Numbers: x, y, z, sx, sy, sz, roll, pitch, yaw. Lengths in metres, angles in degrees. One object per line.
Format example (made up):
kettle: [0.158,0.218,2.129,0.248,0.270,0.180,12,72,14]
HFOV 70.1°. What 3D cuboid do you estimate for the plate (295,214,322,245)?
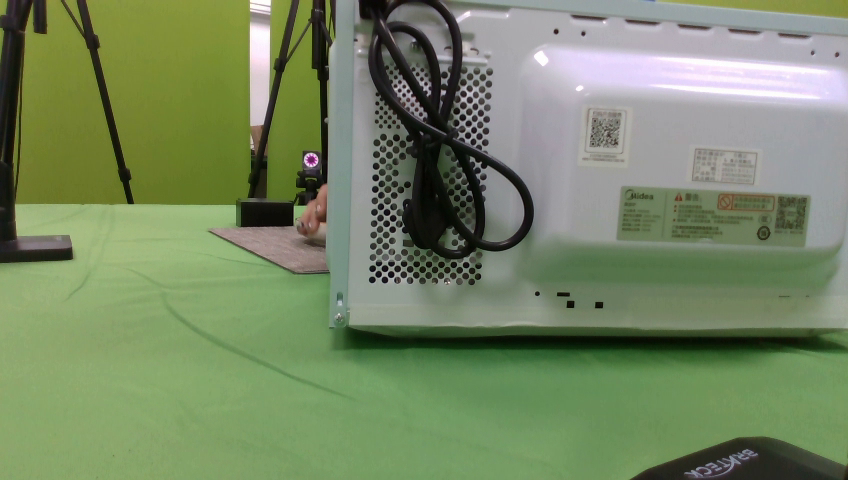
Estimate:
plate: [-0.107,-0.016,0.996,0.209,0.038,0.209,2,7,0]

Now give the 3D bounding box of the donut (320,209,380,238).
donut: [-0.121,-0.027,0.995,0.099,0.048,0.099,2,5,0]

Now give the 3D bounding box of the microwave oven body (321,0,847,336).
microwave oven body: [0.133,-0.062,0.567,0.443,0.260,0.325,2,6,-8]

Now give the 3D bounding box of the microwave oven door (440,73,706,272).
microwave oven door: [0.184,-0.098,0.831,0.354,0.243,0.039,7,9,32]

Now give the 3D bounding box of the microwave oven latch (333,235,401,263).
microwave oven latch: [-0.066,0.010,0.701,0.079,0.029,0.030,2,7,-9]
